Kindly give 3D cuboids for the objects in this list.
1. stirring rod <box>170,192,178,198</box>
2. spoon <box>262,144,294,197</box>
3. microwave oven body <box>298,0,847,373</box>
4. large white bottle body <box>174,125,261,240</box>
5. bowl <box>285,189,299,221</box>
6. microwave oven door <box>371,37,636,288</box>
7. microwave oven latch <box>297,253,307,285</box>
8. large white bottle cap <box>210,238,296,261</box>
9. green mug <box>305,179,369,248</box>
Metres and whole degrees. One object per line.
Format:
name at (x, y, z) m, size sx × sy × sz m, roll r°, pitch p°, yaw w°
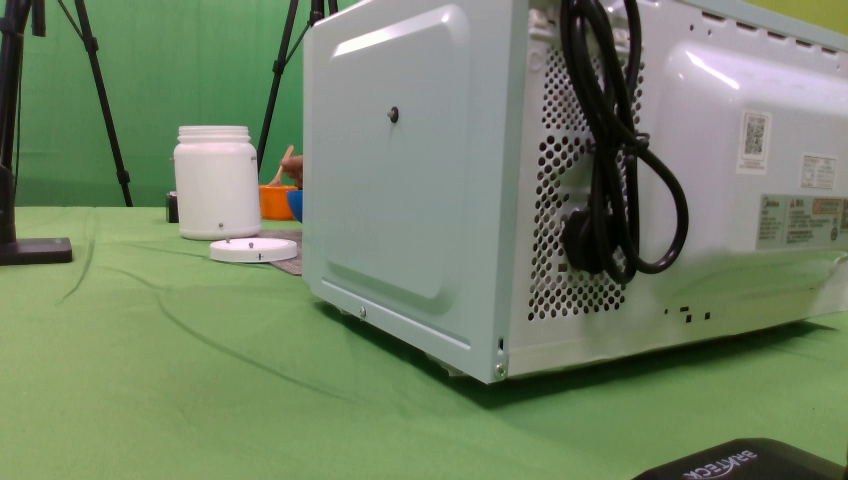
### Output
stirring rod at (-0.465, -0.098, 1.283) m, size 0.014 × 0.006 × 0.177 m, roll 42°, pitch 22°, yaw 17°
spoon at (-0.337, -0.166, 1.426) m, size 0.041 × 0.021 × 0.193 m, roll 9°, pitch 52°, yaw 3°
microwave oven body at (0.151, -0.055, 0.542) m, size 0.444 × 0.260 × 0.324 m, roll -2°, pitch 7°, yaw -33°
large white bottle body at (-0.349, -0.100, 1.025) m, size 0.131 × 0.184 × 0.130 m, roll -1°, pitch 9°, yaw 0°
bowl at (-0.180, -0.050, 1.113) m, size 0.151 × 0.077 × 0.151 m, roll 3°, pitch 8°, yaw 0°
microwave oven door at (0.109, -0.080, 0.687) m, size 0.358 × 0.243 × 0.039 m, roll -2°, pitch 9°, yaw -33°
microwave oven latch at (-0.081, 0.027, 0.582) m, size 0.079 × 0.029 × 0.030 m, roll -1°, pitch 7°, yaw -32°
large white bottle cap at (-0.236, 0.012, 0.839) m, size 0.115 × 0.018 × 0.115 m, roll 1°, pitch 7°, yaw 0°
green mug at (-0.133, -0.045, 0.977) m, size 0.092 × 0.105 × 0.126 m, roll 6°, pitch 8°, yaw 32°
